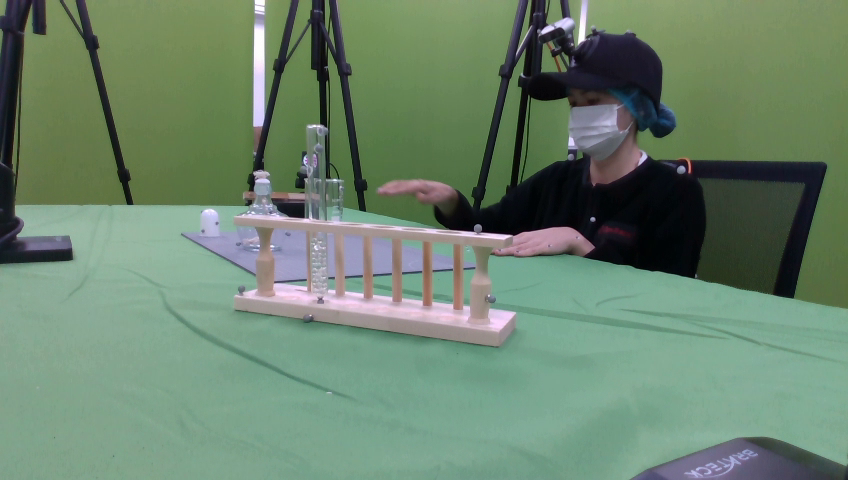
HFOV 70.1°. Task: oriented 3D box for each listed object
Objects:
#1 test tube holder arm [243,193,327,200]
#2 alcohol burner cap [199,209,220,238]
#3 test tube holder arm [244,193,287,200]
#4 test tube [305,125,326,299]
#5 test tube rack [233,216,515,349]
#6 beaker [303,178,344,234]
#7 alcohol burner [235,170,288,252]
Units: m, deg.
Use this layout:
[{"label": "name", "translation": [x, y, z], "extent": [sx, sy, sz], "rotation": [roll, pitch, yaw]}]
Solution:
[{"label": "test tube holder arm", "translation": [-0.287, -0.091, 1.262], "extent": [0.179, 0.015, 0.013], "rotation": [-3, 4, -33]}, {"label": "alcohol burner cap", "translation": [-0.356, -0.027, 1.002], "extent": [0.034, 0.048, 0.034], "rotation": [2, 7, 0]}, {"label": "test tube holder arm", "translation": [-0.322, -0.089, 1.232], "extent": [0.088, 0.015, 0.010], "rotation": [-3, 4, -32]}, {"label": "test tube", "translation": [-0.093, -0.023, 0.520], "extent": [0.017, 0.150, 0.017], "rotation": [0, 7, 0]}, {"label": "test tube rack", "translation": [-0.045, 0.029, 0.526], "extent": [0.241, 0.085, 0.067], "rotation": [5, 8, 19]}, {"label": "beaker", "translation": [-0.189, -0.063, 1.119], "extent": [0.073, 0.100, 0.084], "rotation": [6, 9, 28]}, {"label": "alcohol burner", "translation": [-0.236, -0.042, 0.882], "extent": [0.078, 0.119, 0.078], "rotation": [2, 9, 0]}]
